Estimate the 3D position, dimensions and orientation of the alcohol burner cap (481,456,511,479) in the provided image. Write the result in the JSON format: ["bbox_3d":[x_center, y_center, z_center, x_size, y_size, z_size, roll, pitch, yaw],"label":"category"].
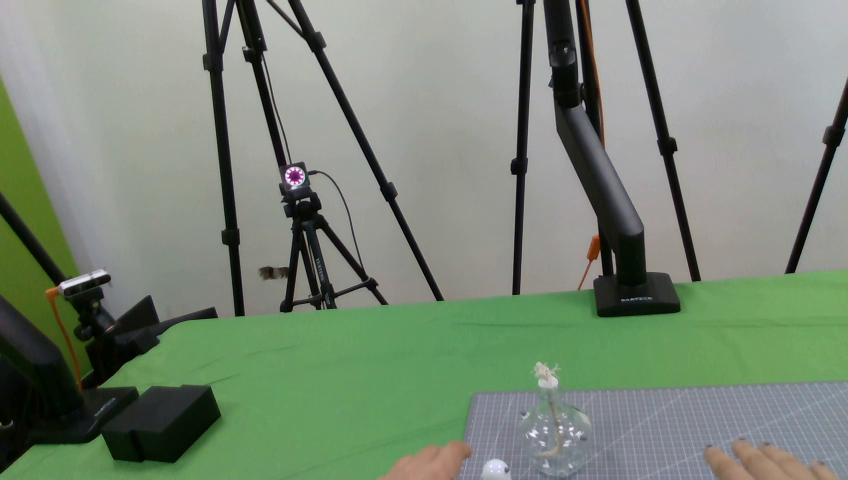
[{"bbox_3d":[0.074,0.242,0.615,0.034,0.048,0.033,-9,21,4],"label":"alcohol burner cap"}]

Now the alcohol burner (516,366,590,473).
[{"bbox_3d":[0.134,0.183,0.637,0.078,0.120,0.077,-8,22,4],"label":"alcohol burner"}]
